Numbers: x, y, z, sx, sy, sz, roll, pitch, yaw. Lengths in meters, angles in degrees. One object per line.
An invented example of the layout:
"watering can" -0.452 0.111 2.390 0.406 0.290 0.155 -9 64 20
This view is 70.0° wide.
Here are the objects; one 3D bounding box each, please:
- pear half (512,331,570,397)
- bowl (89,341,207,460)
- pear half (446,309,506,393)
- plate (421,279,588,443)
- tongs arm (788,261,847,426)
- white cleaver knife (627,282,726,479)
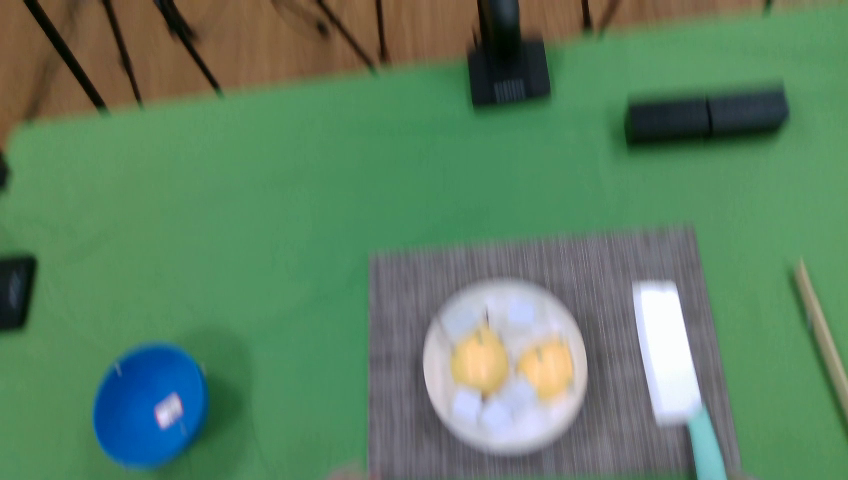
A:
"pear half" 0.149 0.153 0.761 0.070 0.031 0.088 27 81 14
"bowl" -0.349 0.215 0.803 0.151 0.077 0.150 -3 68 8
"pear half" 0.068 0.135 0.772 0.076 0.056 0.109 6 66 7
"plate" 0.101 0.152 0.775 0.207 0.039 0.206 -3 68 8
"tongs arm" 0.504 0.203 0.699 0.028 0.028 0.384 -12 67 2
"white cleaver knife" 0.306 0.184 0.744 0.066 0.022 0.284 -11 63 13
